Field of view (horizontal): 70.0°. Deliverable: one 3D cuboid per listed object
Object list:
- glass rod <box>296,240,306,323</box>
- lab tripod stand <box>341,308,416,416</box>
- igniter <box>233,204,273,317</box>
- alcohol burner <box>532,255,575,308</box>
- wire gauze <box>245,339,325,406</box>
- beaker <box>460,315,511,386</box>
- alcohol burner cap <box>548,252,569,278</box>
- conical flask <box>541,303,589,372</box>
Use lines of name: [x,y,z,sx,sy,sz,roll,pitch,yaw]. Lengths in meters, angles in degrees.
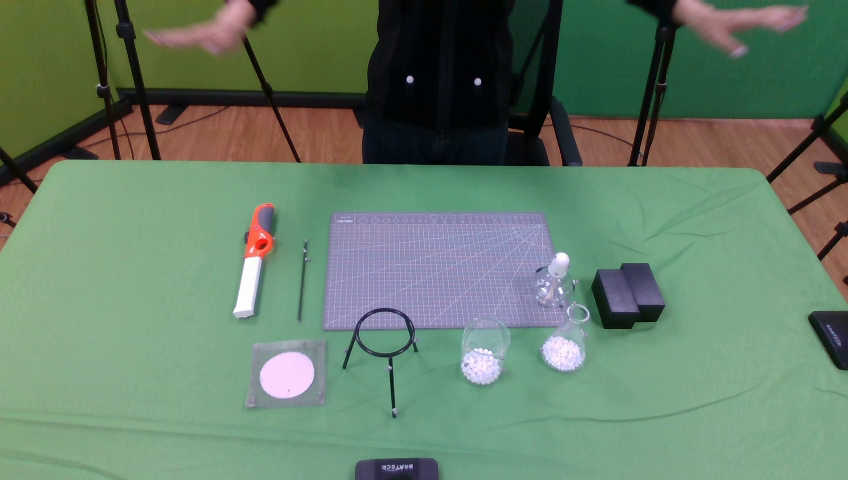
glass rod: [-0.227,0.072,1.121,0.008,0.008,0.198,-1,46,-5]
lab tripod stand: [-0.061,0.177,0.946,0.148,0.132,0.147,2,44,-2]
igniter: [-0.321,0.029,1.142,0.057,0.025,0.274,-7,46,3]
alcohol burner: [0.235,0.066,1.087,0.078,0.119,0.077,4,45,-3]
wire gauze: [-0.224,0.215,0.984,0.125,0.011,0.120,-2,46,-5]
beaker: [0.094,0.183,0.977,0.084,0.101,0.073,-20,51,-21]
alcohol burner cap: [0.238,0.042,1.060,0.034,0.048,0.033,1,52,-1]
conical flask: [0.240,0.156,0.998,0.075,0.122,0.075,2,46,-2]
